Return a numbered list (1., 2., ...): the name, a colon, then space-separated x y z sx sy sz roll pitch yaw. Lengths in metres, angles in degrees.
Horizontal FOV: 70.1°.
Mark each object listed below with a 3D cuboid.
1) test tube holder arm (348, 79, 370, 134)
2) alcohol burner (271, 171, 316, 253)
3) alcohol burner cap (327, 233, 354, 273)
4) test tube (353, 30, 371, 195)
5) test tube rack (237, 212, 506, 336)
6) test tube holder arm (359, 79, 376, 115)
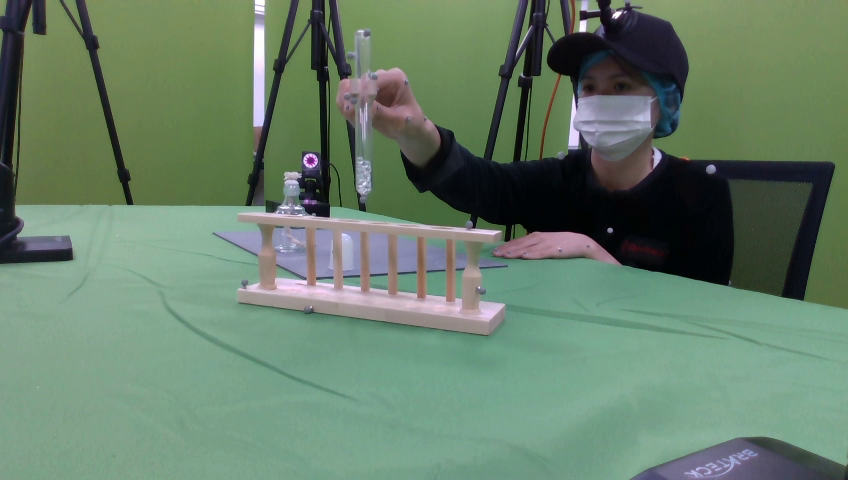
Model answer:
1. test tube holder arm: -0.064 -0.132 0.616 0.013 0.015 0.178 -1 -1 -3
2. alcohol burner: -0.196 -0.041 0.884 0.078 0.119 0.078 3 5 0
3. alcohol burner cap: -0.104 0.016 0.751 0.034 0.048 0.034 3 6 0
4. test tube: -0.056 -0.115 0.546 0.017 0.150 0.017 -1 -5 0
5. test tube rack: -0.049 0.024 0.552 0.242 0.085 0.067 5 8 18
6. test tube holder arm: -0.054 -0.134 0.571 0.010 0.015 0.087 -1 -1 -11
